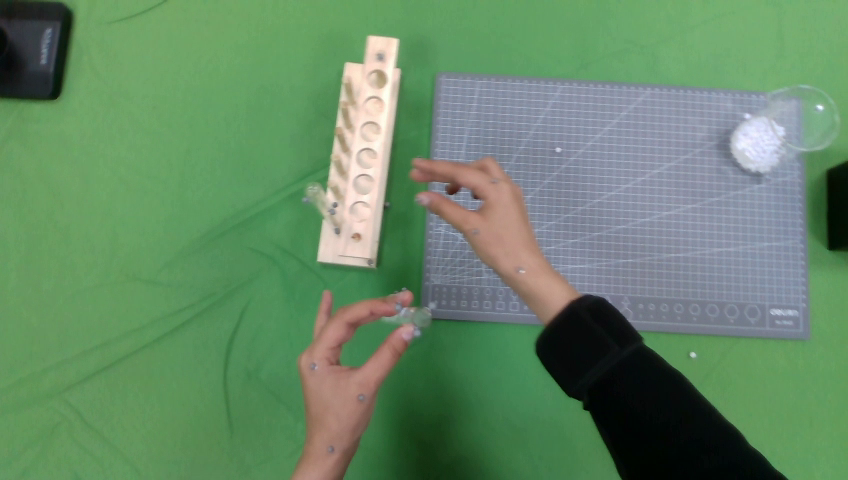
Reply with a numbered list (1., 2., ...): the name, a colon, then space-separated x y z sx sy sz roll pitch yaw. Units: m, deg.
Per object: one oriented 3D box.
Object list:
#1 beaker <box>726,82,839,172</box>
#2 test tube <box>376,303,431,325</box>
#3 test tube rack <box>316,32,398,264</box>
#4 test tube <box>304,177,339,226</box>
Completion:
1. beaker: 0.394 -0.124 0.683 0.084 0.100 0.074 40 82 7
2. test tube: -0.021 0.060 0.502 0.017 0.150 0.017 1 84 -14
3. test tube rack: -0.077 -0.100 0.677 0.067 0.085 0.241 7 81 0
4. test tube: -0.103 -0.037 0.620 0.017 0.151 0.017 0 79 -1
